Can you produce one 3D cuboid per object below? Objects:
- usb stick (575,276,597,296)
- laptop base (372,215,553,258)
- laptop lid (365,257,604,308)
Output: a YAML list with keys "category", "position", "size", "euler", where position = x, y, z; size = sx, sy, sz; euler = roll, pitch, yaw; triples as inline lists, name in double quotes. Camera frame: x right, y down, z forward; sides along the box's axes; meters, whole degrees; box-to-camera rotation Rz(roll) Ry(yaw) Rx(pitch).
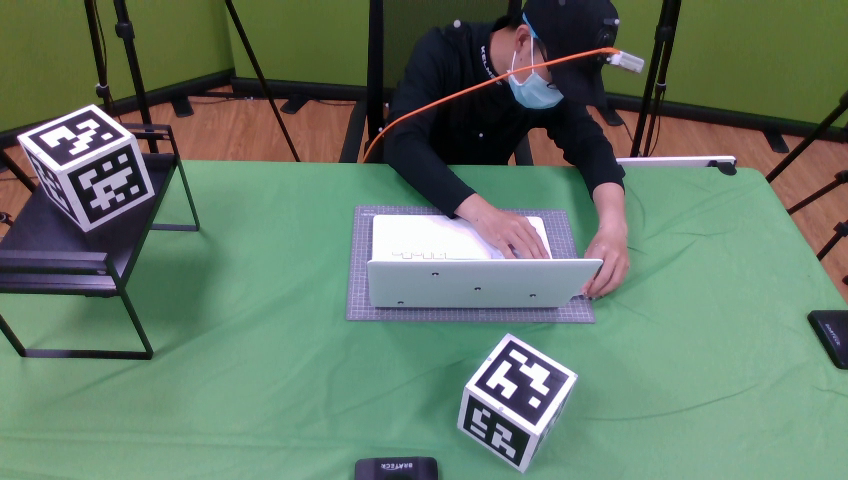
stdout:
- category: "usb stick"
  position: [0.287, 0.086, 1.118]
  size: [0.059, 0.027, 0.021]
  euler: [-11, 48, -14]
- category: "laptop base"
  position: [0.075, 0.037, 1.167]
  size: [0.355, 0.023, 0.234]
  euler: [0, 43, -4]
- category: "laptop lid"
  position: [0.086, 0.074, 0.978]
  size: [0.357, 0.242, 0.013]
  euler: [1, 67, -5]
